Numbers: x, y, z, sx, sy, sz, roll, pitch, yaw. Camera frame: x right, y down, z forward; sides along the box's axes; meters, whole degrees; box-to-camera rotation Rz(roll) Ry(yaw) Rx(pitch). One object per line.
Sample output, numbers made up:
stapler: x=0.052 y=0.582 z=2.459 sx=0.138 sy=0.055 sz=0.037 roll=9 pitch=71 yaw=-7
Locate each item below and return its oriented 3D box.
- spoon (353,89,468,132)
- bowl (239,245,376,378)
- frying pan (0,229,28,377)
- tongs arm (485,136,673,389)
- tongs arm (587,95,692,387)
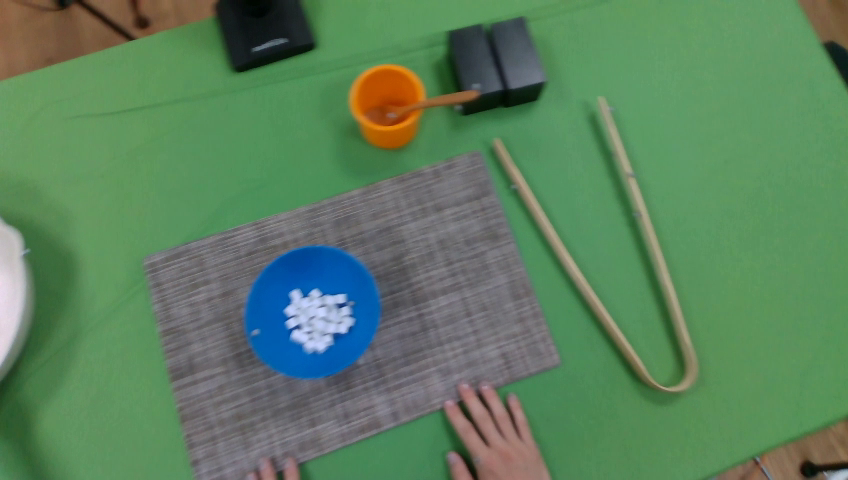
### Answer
spoon: x=-0.022 y=-0.163 z=0.746 sx=0.022 sy=0.192 sz=0.041 roll=30 pitch=69 yaw=-38
bowl: x=-0.129 y=0.087 z=0.711 sx=0.151 sy=0.077 sz=0.150 roll=1 pitch=75 yaw=-2
frying pan: x=-0.546 y=0.168 z=0.669 sx=0.307 sy=0.103 sz=0.484 roll=-32 pitch=70 yaw=-8
tongs arm: x=0.185 y=0.025 z=0.766 sx=0.028 sy=0.028 sz=0.385 roll=-30 pitch=78 yaw=-11
tongs arm: x=0.260 y=-0.006 z=0.771 sx=0.051 sy=0.026 sz=0.382 roll=-18 pitch=78 yaw=-4
